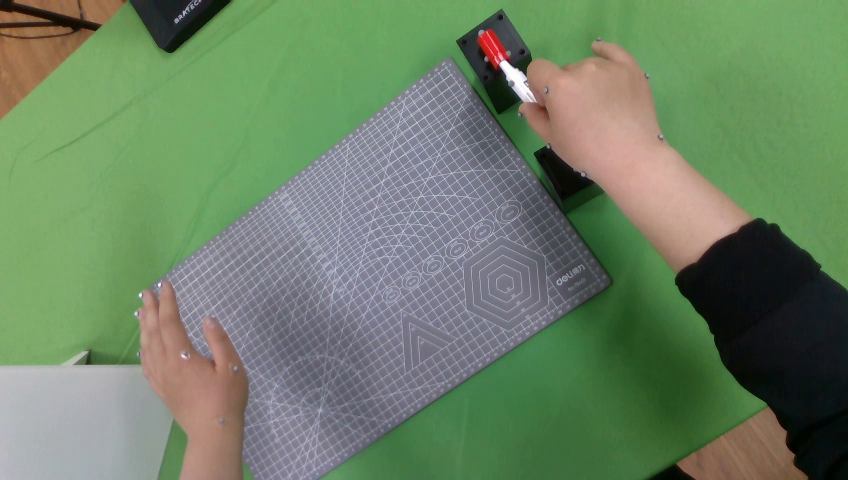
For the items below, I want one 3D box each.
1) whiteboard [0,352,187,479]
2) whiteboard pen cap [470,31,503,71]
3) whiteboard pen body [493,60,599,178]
[{"bbox_3d":[-0.445,0.215,0.630,0.142,0.308,0.217,16,91,34],"label":"whiteboard"},{"bbox_3d":[0.056,-0.169,0.540,0.017,0.017,0.032,-31,80,10],"label":"whiteboard pen cap"},{"bbox_3d":[0.101,-0.109,0.526,0.017,0.017,0.140,-40,80,9],"label":"whiteboard pen body"}]
